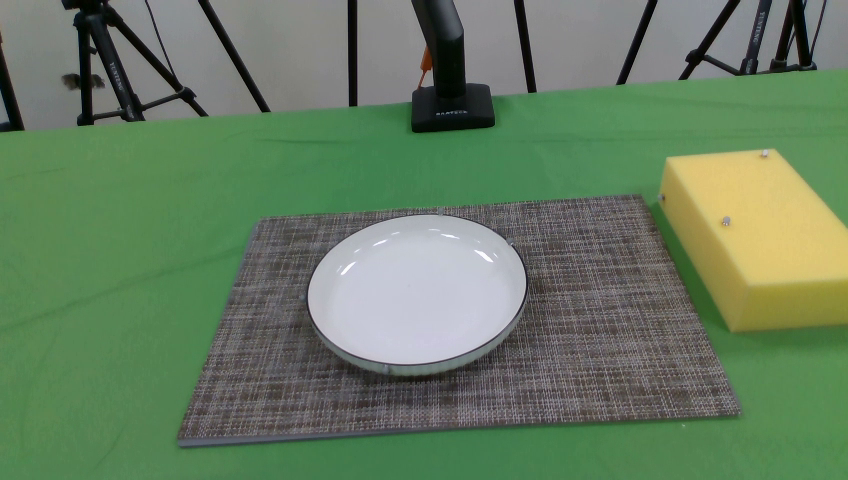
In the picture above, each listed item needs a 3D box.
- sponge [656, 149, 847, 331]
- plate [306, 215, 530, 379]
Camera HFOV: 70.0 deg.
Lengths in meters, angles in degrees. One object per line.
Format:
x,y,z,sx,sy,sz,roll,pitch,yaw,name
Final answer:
0.323,-0.008,0.595,0.118,0.061,0.204,-5,38,1,sponge
-0.005,0.052,0.574,0.207,0.039,0.205,-4,39,3,plate
